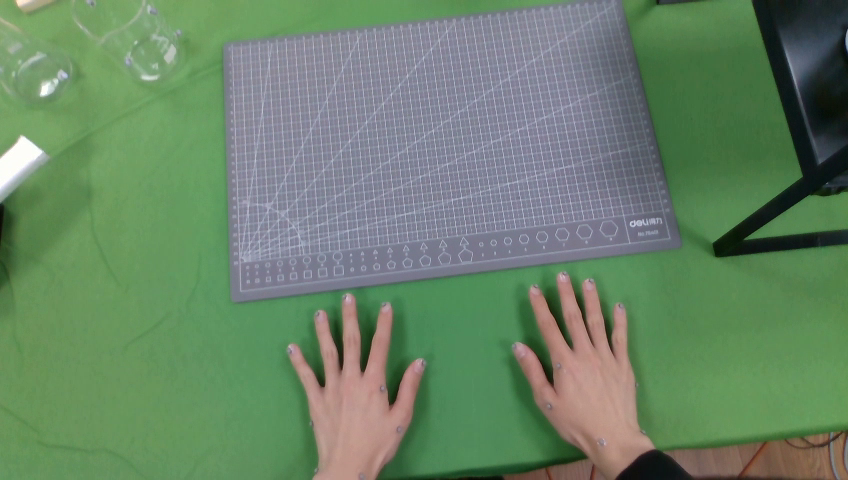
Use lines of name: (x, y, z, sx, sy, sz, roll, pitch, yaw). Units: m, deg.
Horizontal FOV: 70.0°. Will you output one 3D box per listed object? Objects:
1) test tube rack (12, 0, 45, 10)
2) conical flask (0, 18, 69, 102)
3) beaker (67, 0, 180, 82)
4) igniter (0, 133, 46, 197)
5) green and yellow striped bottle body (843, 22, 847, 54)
test tube rack: (-0.378, -0.361, 0.684, 0.242, 0.085, 0.066, -27, 75, -6)
conical flask: (-0.433, -0.202, 0.620, 0.075, 0.122, 0.075, 0, 73, 2)
beaker: (-0.309, -0.218, 0.634, 0.074, 0.101, 0.083, 8, 74, 5)
igniter: (-0.469, 0.008, 0.562, 0.057, 0.025, 0.276, 36, 75, 9)
green and yellow striped bottle body: (0.347, -0.167, 0.405, 0.063, 0.120, 0.063, 0, 73, 2)
